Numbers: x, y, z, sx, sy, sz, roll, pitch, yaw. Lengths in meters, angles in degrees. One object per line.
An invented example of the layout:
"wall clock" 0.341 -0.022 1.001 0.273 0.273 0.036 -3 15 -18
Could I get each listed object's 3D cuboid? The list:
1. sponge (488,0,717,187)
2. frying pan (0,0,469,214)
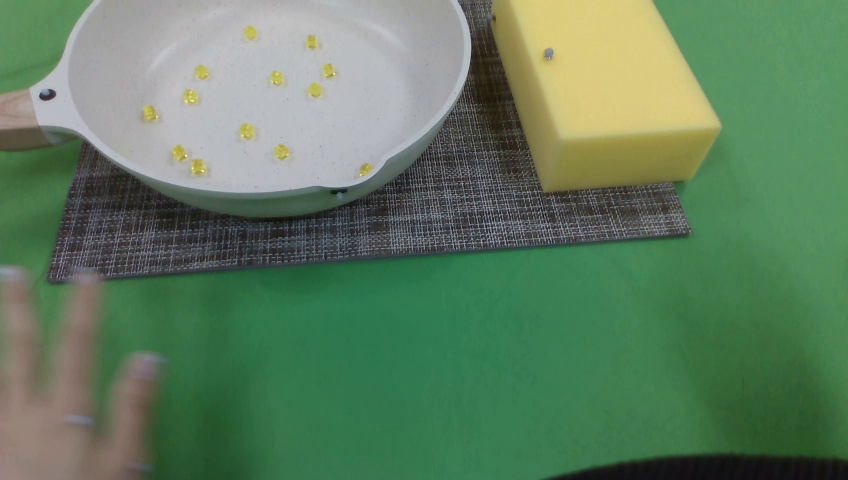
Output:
"sponge" 0.132 -0.144 0.492 0.118 0.061 0.204 -6 57 -6
"frying pan" -0.205 -0.105 0.427 0.489 0.103 0.303 -18 58 -23
